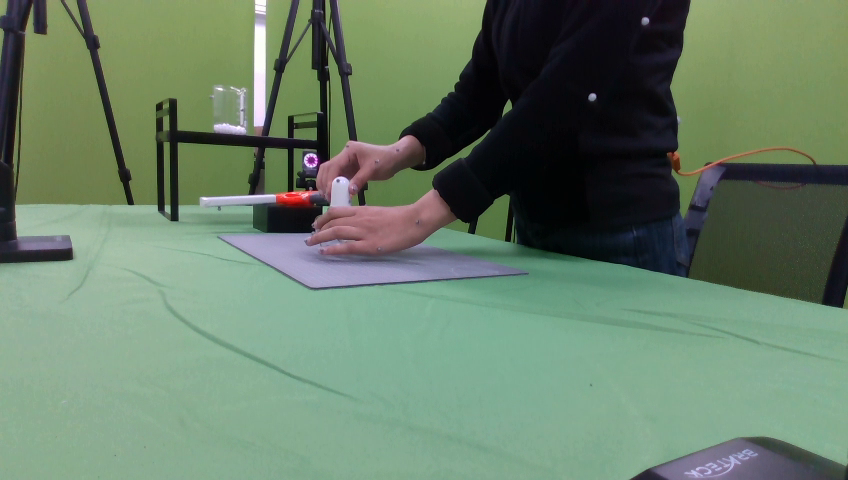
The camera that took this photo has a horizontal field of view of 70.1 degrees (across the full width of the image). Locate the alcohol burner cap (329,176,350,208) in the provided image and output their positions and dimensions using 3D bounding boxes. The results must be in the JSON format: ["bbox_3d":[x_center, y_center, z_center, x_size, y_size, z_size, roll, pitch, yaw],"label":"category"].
[{"bbox_3d":[-0.125,-0.071,0.900,0.034,0.048,0.034,1,3,0],"label":"alcohol burner cap"}]

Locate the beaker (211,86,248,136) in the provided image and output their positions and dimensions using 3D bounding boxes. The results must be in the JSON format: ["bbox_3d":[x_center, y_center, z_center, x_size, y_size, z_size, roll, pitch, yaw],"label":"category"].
[{"bbox_3d":[-0.413,-0.274,1.297,0.074,0.100,0.083,-5,11,-44],"label":"beaker"}]

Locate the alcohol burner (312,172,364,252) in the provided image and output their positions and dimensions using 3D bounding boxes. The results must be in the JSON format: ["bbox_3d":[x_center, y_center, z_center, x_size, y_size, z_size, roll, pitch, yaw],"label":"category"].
[{"bbox_3d":[-0.128,-0.042,0.905,0.078,0.119,0.078,2,6,0],"label":"alcohol burner"}]

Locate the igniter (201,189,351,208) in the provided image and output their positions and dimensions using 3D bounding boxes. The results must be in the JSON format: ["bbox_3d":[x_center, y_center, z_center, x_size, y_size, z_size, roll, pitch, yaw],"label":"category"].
[{"bbox_3d":[-0.272,-0.078,1.138,0.278,0.025,0.057,-5,11,-28],"label":"igniter"}]
